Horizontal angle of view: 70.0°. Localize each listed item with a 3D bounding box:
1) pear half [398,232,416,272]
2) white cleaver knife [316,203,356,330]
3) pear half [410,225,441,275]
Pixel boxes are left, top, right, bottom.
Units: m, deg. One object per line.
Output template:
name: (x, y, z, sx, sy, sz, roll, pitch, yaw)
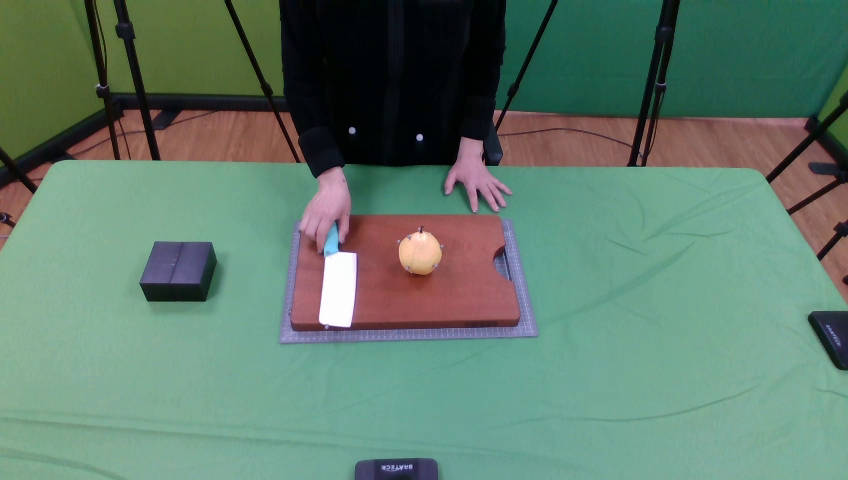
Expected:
pear half: (-0.032, 0.018, 1.092, 0.031, 0.088, 0.070, 1, 51, -2)
white cleaver knife: (-0.158, 0.042, 1.110, 0.066, 0.021, 0.284, 6, 50, -12)
pear half: (0.004, 0.013, 1.085, 0.056, 0.110, 0.076, 1, 51, -3)
